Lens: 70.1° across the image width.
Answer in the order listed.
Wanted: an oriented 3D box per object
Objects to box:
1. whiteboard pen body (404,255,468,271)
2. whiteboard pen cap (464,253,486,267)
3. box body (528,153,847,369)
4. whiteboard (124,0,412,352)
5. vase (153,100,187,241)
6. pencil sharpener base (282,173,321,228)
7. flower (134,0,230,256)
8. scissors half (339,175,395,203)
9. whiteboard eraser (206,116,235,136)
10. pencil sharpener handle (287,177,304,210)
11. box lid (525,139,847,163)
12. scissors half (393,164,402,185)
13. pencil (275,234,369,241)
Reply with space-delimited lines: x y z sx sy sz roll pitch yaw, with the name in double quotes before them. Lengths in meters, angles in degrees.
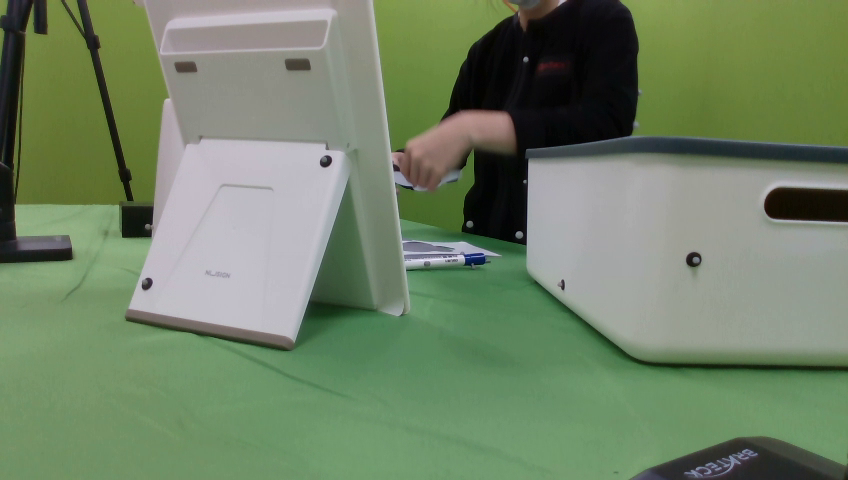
"whiteboard pen body" 0.012 0.030 0.792 0.141 0.017 0.017 -3 9 -24
"whiteboard pen cap" 0.066 0.027 0.818 0.033 0.018 0.018 -7 11 -23
"box body" 0.258 -0.005 0.591 0.254 0.160 0.363 2 7 -4
"whiteboard" -0.151 -0.049 0.472 0.216 0.305 0.144 6 27 24
"vase" -0.278 -0.066 0.736 0.098 0.200 0.098 2 9 0
"pencil sharpener base" -0.247 -0.080 1.212 0.061 0.107 0.076 -2 5 -28
"flower" -0.282 -0.147 0.713 0.038 0.362 0.044 -23 24 -31
"scissors half" -0.097 -0.091 1.032 0.012 0.040 0.176 34 7 24
"whiteboard eraser" -0.450 -0.252 1.335 0.056 0.042 0.112 1 7 -22
"pencil sharpener handle" -0.269 -0.096 1.257 0.036 0.067 0.030 -8 8 -27
"box lid" 0.261 -0.078 0.580 0.264 0.015 0.371 2 7 -4
"scissors half" -0.088 -0.109 1.027 0.013 0.040 0.176 28 22 25
"pencil" -0.169 -0.006 1.036 0.195 0.012 0.012 -2 9 -45
